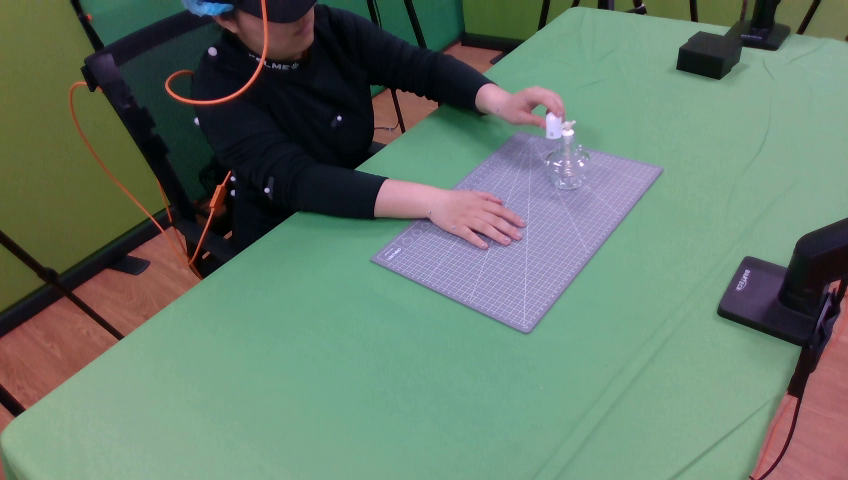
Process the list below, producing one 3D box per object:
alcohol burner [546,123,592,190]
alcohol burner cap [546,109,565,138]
[{"bbox_3d":[0.247,-0.146,1.034,0.078,0.120,0.077,-7,41,6],"label":"alcohol burner"},{"bbox_3d":[0.235,-0.210,1.086,0.034,0.048,0.033,-10,32,7],"label":"alcohol burner cap"}]
